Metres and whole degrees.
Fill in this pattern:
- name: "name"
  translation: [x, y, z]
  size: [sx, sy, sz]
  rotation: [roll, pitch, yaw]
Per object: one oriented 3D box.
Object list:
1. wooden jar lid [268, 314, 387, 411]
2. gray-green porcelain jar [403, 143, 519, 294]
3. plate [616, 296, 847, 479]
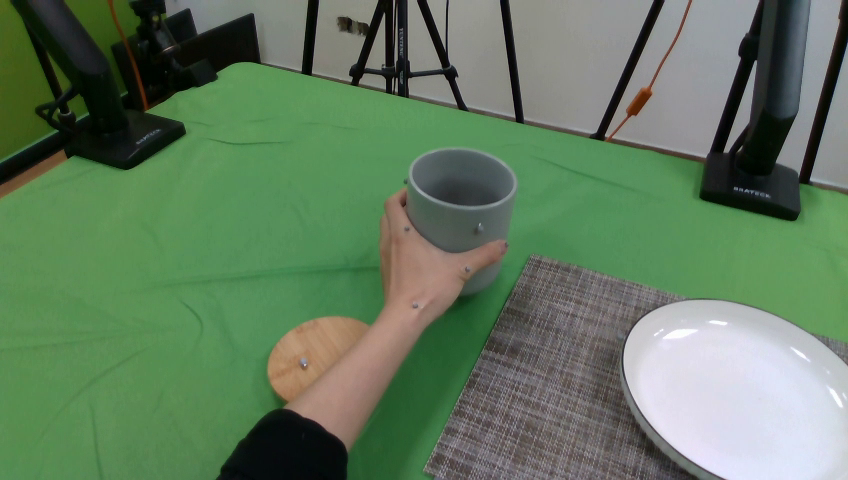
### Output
- name: "wooden jar lid"
  translation: [-0.088, 0.113, 0.559]
  size: [0.108, 0.021, 0.107]
  rotation: [2, 40, -1]
- name: "gray-green porcelain jar"
  translation: [0.033, -0.017, 0.612]
  size: [0.106, 0.127, 0.105]
  rotation: [4, 41, -3]
- name: "plate"
  translation: [0.270, 0.134, 0.525]
  size: [0.208, 0.039, 0.205]
  rotation: [1, 39, -1]
